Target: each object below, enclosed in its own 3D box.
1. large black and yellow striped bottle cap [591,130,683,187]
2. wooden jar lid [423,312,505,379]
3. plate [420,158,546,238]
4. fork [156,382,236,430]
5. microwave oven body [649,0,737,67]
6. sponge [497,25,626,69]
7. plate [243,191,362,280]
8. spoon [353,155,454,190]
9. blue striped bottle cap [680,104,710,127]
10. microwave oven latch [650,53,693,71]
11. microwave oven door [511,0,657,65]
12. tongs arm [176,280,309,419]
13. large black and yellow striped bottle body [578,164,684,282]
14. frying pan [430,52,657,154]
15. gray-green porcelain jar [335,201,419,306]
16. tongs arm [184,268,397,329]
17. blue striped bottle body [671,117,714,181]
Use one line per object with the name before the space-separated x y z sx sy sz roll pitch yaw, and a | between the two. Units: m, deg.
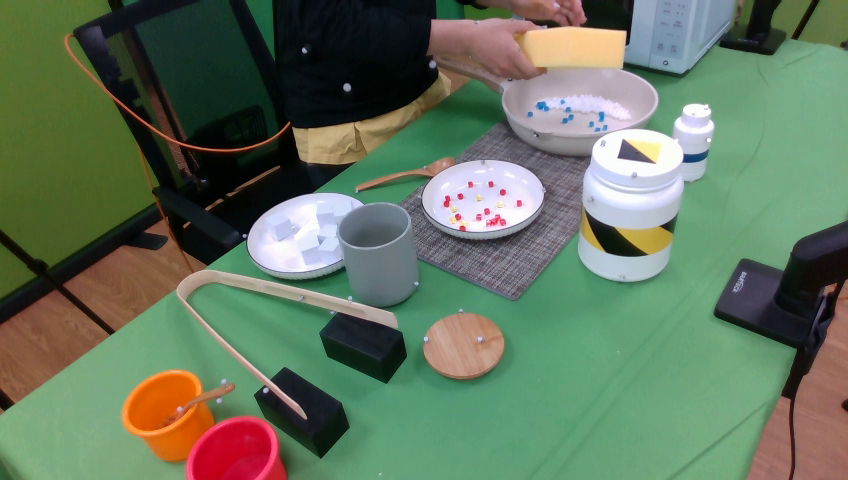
large black and yellow striped bottle cap | 0.282 -0.111 0.803 0.115 0.019 0.114 -3 41 3
wooden jar lid | 0.053 0.142 0.800 0.108 0.021 0.108 -5 39 4
plate | 0.099 -0.067 1.017 0.209 0.038 0.208 -4 40 4
fork | -0.262 0.189 0.690 0.018 0.206 0.028 49 43 -7
microwave oven body | 0.475 -0.602 1.411 0.438 0.261 0.327 23 50 32
sponge | 0.233 -0.333 1.057 0.119 0.061 0.205 -5 16 -27
plate | -0.188 -0.005 0.992 0.207 0.039 0.206 -4 41 4
spoon | -0.038 -0.123 1.116 0.194 0.022 0.041 -12 58 -4
blue striped bottle cap | 0.443 -0.205 0.989 0.044 0.021 0.044 -2 42 2
microwave oven latch | 0.531 -0.386 1.301 0.078 0.029 0.030 26 51 33
microwave oven door | 0.352 -0.541 1.350 0.353 0.245 0.039 24 51 31
tongs arm | -0.254 0.133 0.801 0.028 0.028 0.384 -41 41 -23
large black and yellow striped bottle body | 0.292 -0.046 0.859 0.131 0.185 0.130 -4 41 4
frying pan | 0.214 -0.302 1.224 0.484 0.103 0.308 29 49 24
gray-green porcelain jar | -0.064 0.024 0.872 0.106 0.127 0.105 -4 41 4
tongs arm | -0.202 0.084 0.848 0.382 0.027 0.051 11 45 35
blue striped bottle body | 0.449 -0.165 1.022 0.063 0.121 0.063 -5 41 4
